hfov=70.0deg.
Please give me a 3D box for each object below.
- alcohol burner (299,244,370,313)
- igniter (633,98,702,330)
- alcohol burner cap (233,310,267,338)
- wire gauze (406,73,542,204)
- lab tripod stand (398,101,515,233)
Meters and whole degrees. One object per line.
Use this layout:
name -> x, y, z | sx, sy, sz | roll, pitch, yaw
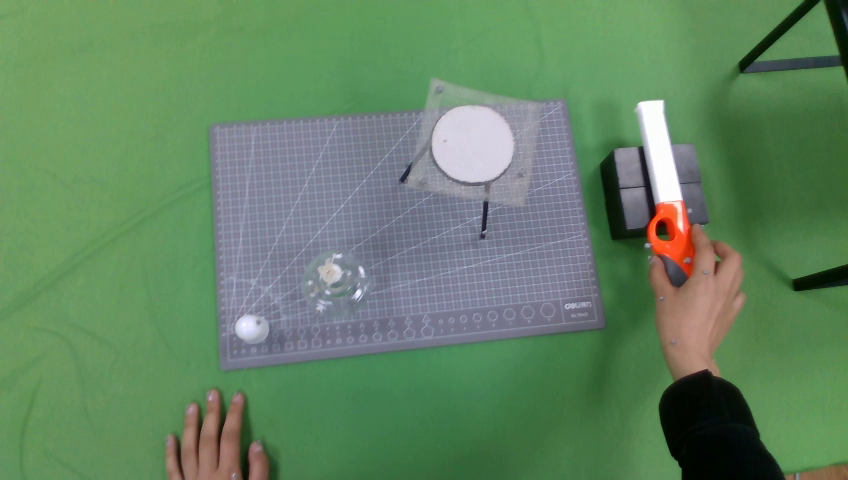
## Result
alcohol burner -> -0.098, 0.039, 0.656 | 0.078, 0.119, 0.077 | 1, 79, -4
igniter -> 0.281, -0.035, 0.701 | 0.057, 0.025, 0.275 | -4, 77, -2
alcohol burner cap -> -0.196, 0.092, 0.673 | 0.034, 0.048, 0.033 | 1, 77, -5
wire gauze -> 0.053, -0.104, 0.620 | 0.121, 0.011, 0.124 | 13, 76, -2
lab tripod stand -> 0.046, -0.091, 0.685 | 0.148, 0.132, 0.147 | 1, 76, -4
